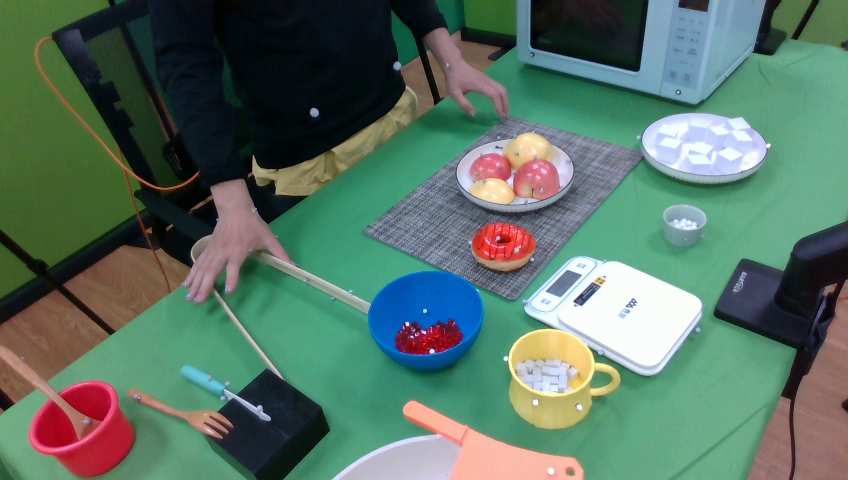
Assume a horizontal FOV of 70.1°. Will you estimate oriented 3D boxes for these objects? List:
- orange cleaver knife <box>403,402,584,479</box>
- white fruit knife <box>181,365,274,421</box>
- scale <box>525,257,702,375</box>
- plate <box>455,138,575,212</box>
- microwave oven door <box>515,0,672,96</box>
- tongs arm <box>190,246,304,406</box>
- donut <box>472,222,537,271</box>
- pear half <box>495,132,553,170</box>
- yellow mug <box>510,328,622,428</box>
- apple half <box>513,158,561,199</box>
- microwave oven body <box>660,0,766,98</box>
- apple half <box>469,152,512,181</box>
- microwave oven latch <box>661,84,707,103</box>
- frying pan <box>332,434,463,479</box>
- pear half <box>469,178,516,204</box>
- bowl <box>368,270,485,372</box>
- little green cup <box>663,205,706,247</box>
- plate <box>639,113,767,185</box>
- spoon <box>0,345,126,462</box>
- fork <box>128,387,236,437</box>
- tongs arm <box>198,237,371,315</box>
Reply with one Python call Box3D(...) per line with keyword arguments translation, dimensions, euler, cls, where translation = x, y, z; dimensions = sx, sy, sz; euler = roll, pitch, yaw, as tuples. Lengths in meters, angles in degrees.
Box3D(translation=(0.062, 0.222, 0.609), dimensions=(0.210, 0.012, 0.077), euler=(15, 48, 25), cls="orange cleaver knife")
Box3D(translation=(-0.246, 0.187, 0.747), dimensions=(0.205, 0.027, 0.016), euler=(9, 41, 41), cls="white fruit knife")
Box3D(translation=(0.254, 0.091, 0.821), dimensions=(0.199, 0.032, 0.149), euler=(28, 51, 35), cls="scale")
Box3D(translation=(0.159, -0.111, 1.063), dimensions=(0.209, 0.038, 0.208), euler=(-4, 40, 4), cls="plate")
Box3D(translation=(0.343, -0.454, 1.259), dimensions=(0.353, 0.245, 0.039), euler=(26, 51, 33), cls="microwave oven door")
Box3D(translation=(-0.269, 0.112, 0.883), dimensions=(0.028, 0.028, 0.384), euler=(-37, 47, -18), cls="tongs arm")
Box3D(translation=(0.123, 0.008, 0.923), dimensions=(0.099, 0.048, 0.098), euler=(-3, 38, 3), cls="donut")
Box3D(translation=(0.175, -0.168, 1.094), dimensions=(0.109, 0.056, 0.076), euler=(16, 54, 29), cls="pear half")
Box3D(translation=(0.168, 0.164, 0.722), dimensions=(0.130, 0.064, 0.099), euler=(0, 40, 8), cls="yellow mug")
Box3D(translation=(0.193, -0.111, 1.031), dimensions=(0.080, 0.053, 0.075), euler=(12, 41, 26), cls="apple half")
Box3D(translation=(0.472, -0.513, 1.317), dimensions=(0.438, 0.261, 0.327), euler=(26, 51, 34), cls="microwave oven body")
Box3D(translation=(0.120, -0.139, 1.088), dimensions=(0.081, 0.033, 0.081), euler=(0, 44, 0), cls="apple half")
Box3D(translation=(0.517, -0.296, 1.204), dimensions=(0.078, 0.029, 0.030), euler=(27, 52, 35), cls="microwave oven latch")
Box3D(translation=(-0.089, 0.306, 0.564), dimensions=(0.487, 0.103, 0.306), euler=(10, 41, 7), cls="frying pan")
Box3D(translation=(0.115, -0.090, 1.035), dimensions=(0.087, 0.031, 0.071), euler=(27, 38, 31), cls="pear half")
Box3D(translation=(0.007, 0.118, 0.791), dimensions=(0.151, 0.077, 0.150), euler=(-5, 40, 4), cls="bowl")
Box3D(translation=(0.396, -0.020, 0.926), dimensions=(0.061, 0.039, 0.061), euler=(-4, 40, 4), cls="little green cup")
Box3D(translation=(0.489, -0.157, 1.074), dimensions=(0.207, 0.039, 0.206), euler=(-4, 40, 4), cls="plate")
Box3D(translation=(-0.434, 0.192, 0.720), dimensions=(0.194, 0.021, 0.042), euler=(47, 53, -7), cls="spoon")
Box3D(translation=(-0.305, 0.207, 0.744), dimensions=(0.206, 0.019, 0.028), euler=(3, 41, 36), cls="fork")
Box3D(translation=(-0.210, 0.063, 0.924), dimensions=(0.382, 0.027, 0.051), euler=(22, 54, 32), cls="tongs arm")
